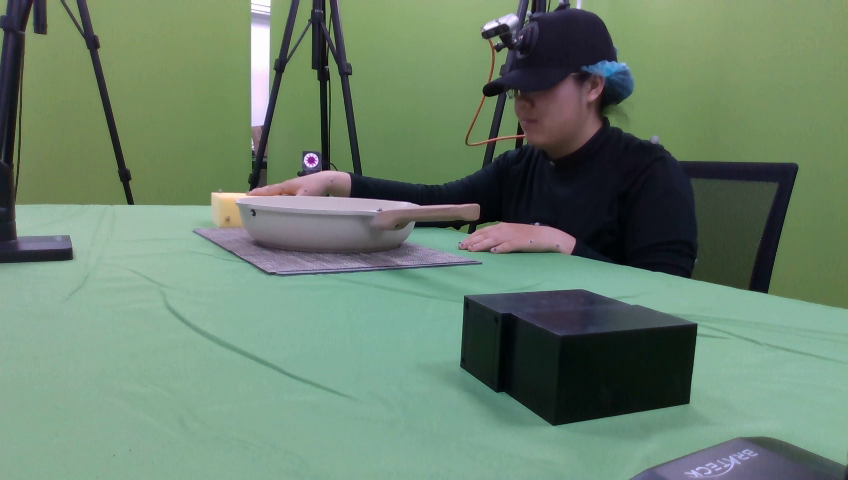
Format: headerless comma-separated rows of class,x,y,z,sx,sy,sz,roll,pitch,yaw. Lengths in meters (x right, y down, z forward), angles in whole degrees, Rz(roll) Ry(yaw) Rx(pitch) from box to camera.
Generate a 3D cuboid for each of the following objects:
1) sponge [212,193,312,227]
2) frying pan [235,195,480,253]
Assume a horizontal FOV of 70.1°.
sponge,-0.318,-0.062,1.233,0.208,0.061,0.117,-1,8,-27
frying pan,-0.090,-0.034,0.891,0.308,0.102,0.485,-4,2,-36
